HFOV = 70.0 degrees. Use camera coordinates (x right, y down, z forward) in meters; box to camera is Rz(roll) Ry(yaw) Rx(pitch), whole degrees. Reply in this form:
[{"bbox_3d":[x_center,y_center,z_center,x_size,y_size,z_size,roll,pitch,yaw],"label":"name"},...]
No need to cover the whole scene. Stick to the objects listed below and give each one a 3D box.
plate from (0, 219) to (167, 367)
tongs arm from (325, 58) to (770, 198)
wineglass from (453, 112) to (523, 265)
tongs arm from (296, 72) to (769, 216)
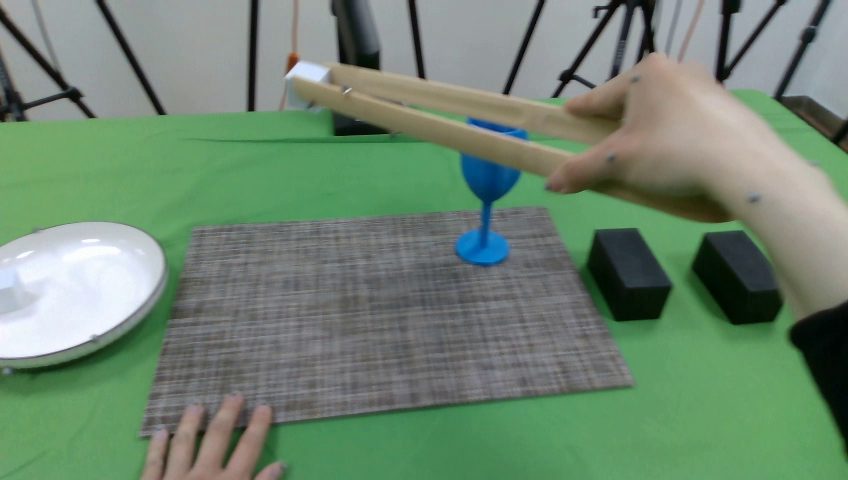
[{"bbox_3d":[-0.374,0.053,0.628,0.209,0.038,0.207,1,39,-1],"label":"plate"},{"bbox_3d":[0.061,-0.100,0.472,0.384,0.028,0.028,21,41,31],"label":"tongs arm"},{"bbox_3d":[0.069,-0.059,0.678,0.074,0.174,0.073,1,39,-1],"label":"wineglass"},{"bbox_3d":[0.045,-0.087,0.457,0.381,0.027,0.051,24,46,34],"label":"tongs arm"}]
